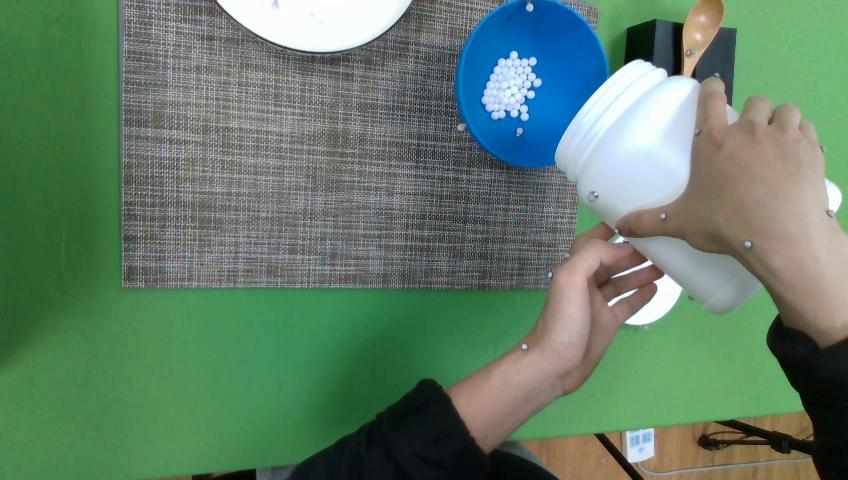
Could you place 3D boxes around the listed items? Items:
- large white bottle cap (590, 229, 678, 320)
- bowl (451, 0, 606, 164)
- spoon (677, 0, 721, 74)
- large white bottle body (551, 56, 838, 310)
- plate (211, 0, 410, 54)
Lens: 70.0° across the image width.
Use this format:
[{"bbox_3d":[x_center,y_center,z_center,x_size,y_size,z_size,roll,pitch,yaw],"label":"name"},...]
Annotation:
[{"bbox_3d":[0.244,0.035,0.694,0.115,0.018,0.115,-3,100,-18],"label":"large white bottle cap"},{"bbox_3d":[0.088,-0.149,0.581,0.152,0.076,0.151,-3,99,-17],"label":"bowl"},{"bbox_3d":[0.255,-0.154,0.620,0.042,0.021,0.194,14,99,-22],"label":"spoon"},{"bbox_3d":[0.206,-0.050,0.488,0.130,0.131,0.183,-43,72,-7],"label":"large white bottle body"},{"bbox_3d":[-0.102,-0.265,0.525,0.210,0.038,0.209,-2,96,-18],"label":"plate"}]
